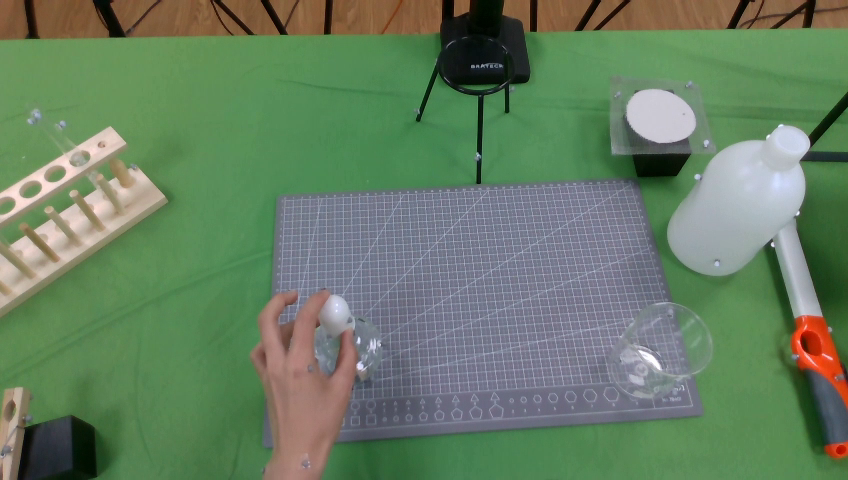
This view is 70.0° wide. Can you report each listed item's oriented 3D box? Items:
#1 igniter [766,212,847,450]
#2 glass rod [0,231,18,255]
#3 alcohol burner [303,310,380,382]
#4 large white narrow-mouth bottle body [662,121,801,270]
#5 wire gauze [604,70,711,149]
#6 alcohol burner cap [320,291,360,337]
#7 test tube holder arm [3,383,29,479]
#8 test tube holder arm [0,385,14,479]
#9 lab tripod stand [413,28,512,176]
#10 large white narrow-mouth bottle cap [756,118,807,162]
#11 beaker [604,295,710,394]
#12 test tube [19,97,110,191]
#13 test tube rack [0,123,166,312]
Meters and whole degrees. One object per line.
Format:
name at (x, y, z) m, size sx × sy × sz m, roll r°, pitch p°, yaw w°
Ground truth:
igniter at (0.420, 0.088, 0.666) m, size 0.057 × 0.025 × 0.274 m, roll 6°, pitch 61°, yaw -9°
glass rod at (-0.452, -0.042, 0.603) m, size 0.008 × 0.201 × 0.008 m, roll 3°, pitch 53°, yaw -3°
alcohol burner at (-0.082, 0.097, 0.595) m, size 0.078 × 0.120 × 0.077 m, roll 2°, pitch 60°, yaw -3°
large white narrow-mouth bottle body at (0.333, -0.052, 0.643) m, size 0.102 × 0.196 × 0.101 m, roll 1°, pitch 61°, yaw -1°
wire gauze at (0.285, -0.162, 0.751) m, size 0.121 × 0.011 × 0.124 m, roll 4°, pitch 61°, yaw 1°
alcohol burner cap at (-0.075, 0.064, 0.535) m, size 0.034 × 0.048 × 0.033 m, roll -1°, pitch 64°, yaw 2°
test tube holder arm at (-0.364, 0.215, 0.528) m, size 0.013 × 0.015 × 0.177 m, roll -11°, pitch 67°, yaw 1°
test tube holder arm at (-0.376, 0.175, 0.546) m, size 0.010 × 0.015 × 0.087 m, roll -10°, pitch 67°, yaw 2°
lab tripod stand at (0.056, -0.173, 0.736) m, size 0.148 × 0.132 × 0.147 m, roll 2°, pitch 63°, yaw -3°
large white narrow-mouth bottle cap at (0.334, -0.094, 0.569) m, size 0.038 × 0.024 × 0.037 m, roll 1°, pitch 61°, yaw -1°
beaker at (0.224, 0.108, 0.605) m, size 0.084 × 0.101 × 0.073 m, roll 2°, pitch 61°, yaw 1°
test tube at (-0.382, -0.098, 0.654) m, size 0.017 × 0.151 × 0.017 m, roll -2°, pitch 61°, yaw 3°
test tube rack at (-0.420, -0.018, 0.666) m, size 0.242 × 0.086 × 0.066 m, roll -40°, pitch 70°, yaw -20°
